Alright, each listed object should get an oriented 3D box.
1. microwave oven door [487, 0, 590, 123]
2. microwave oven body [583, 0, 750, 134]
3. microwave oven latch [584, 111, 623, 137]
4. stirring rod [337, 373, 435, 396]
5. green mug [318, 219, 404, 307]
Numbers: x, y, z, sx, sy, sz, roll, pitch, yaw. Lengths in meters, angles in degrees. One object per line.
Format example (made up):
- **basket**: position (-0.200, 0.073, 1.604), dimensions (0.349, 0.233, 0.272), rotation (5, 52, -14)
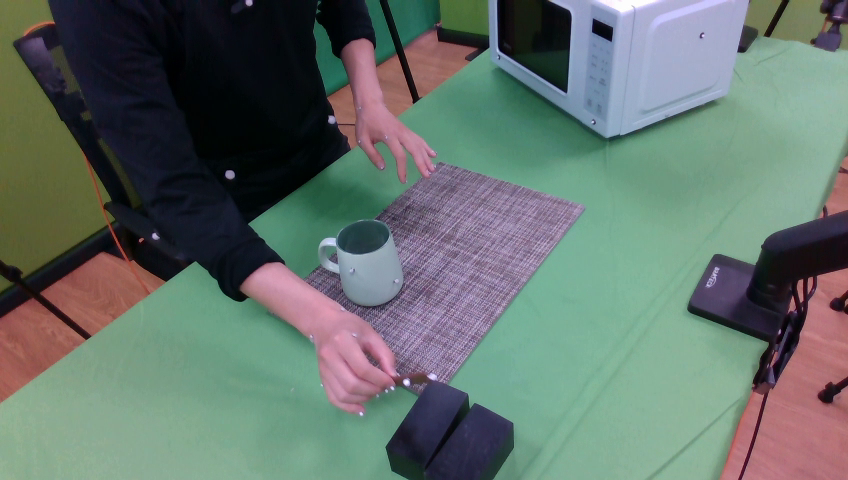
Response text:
- **microwave oven door**: position (0.232, -0.420, 1.230), dimensions (0.039, 0.245, 0.352), rotation (-22, 43, -16)
- **microwave oven body**: position (0.382, -0.445, 1.246), dimensions (0.327, 0.261, 0.437), rotation (-22, 42, -16)
- **microwave oven latch**: position (0.337, -0.222, 1.142), dimensions (0.030, 0.029, 0.078), rotation (-21, 42, -14)
- **stirring rod**: position (-0.048, 0.168, 0.696), dimensions (0.175, 0.014, 0.006), rotation (-21, 25, 45)
- **green mug**: position (-0.095, 0.032, 0.876), dimensions (0.125, 0.105, 0.092), rotation (8, 43, 17)
